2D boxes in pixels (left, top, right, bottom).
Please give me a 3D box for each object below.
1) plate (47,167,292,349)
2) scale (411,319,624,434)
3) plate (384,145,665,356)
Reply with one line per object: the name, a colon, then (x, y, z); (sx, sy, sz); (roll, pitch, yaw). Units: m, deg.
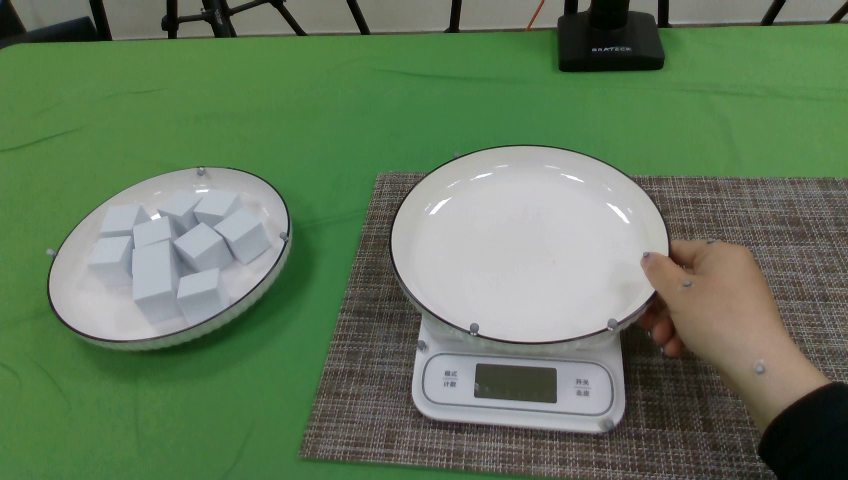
plate: (-0.219, 0.014, 0.541); (0.209, 0.038, 0.207); (-3, 46, 3)
scale: (0.074, 0.049, 0.473); (0.148, 0.032, 0.199); (2, 48, 9)
plate: (0.074, 0.005, 0.469); (0.207, 0.039, 0.205); (-3, 47, 3)
